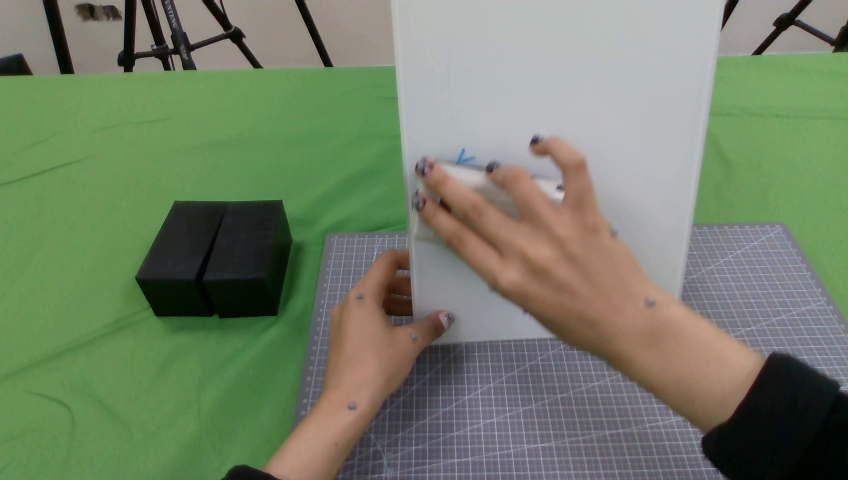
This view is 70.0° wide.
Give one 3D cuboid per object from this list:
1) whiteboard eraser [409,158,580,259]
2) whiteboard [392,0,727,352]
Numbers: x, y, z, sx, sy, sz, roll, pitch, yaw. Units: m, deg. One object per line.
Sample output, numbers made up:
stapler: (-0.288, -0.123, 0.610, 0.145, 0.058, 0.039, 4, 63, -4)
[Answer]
whiteboard eraser: (0.048, -0.023, 0.427, 0.113, 0.056, 0.041, 9, 22, -4)
whiteboard: (0.092, -0.080, 0.494, 0.217, 0.307, 0.143, -2, 25, 1)
